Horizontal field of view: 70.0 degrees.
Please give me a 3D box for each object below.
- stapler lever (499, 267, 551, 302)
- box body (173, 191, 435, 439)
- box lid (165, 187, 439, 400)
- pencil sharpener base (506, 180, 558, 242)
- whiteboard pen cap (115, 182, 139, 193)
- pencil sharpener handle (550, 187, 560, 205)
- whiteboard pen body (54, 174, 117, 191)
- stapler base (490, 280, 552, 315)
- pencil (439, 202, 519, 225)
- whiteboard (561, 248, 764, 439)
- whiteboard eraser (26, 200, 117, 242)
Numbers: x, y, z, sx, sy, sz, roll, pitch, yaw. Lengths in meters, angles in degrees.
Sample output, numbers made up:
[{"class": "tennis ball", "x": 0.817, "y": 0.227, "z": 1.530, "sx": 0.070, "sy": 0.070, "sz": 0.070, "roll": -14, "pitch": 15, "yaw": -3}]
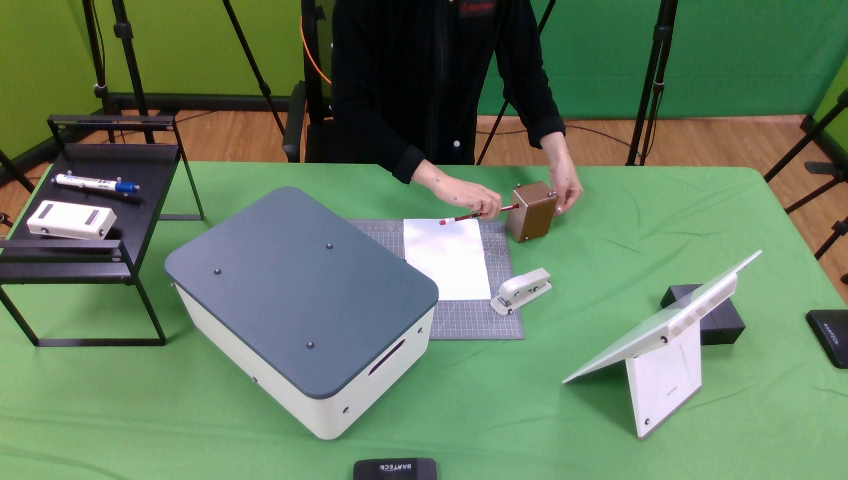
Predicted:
[{"class": "stapler lever", "x": 0.185, "y": 0.076, "z": 1.101, "sx": 0.118, "sy": 0.040, "sz": 0.026, "roll": -25, "pitch": 57, "yaw": -29}, {"class": "box body", "x": -0.191, "y": 0.110, "z": 0.979, "sx": 0.362, "sy": 0.161, "sz": 0.254, "roll": 33, "pitch": 53, "yaw": 24}, {"class": "box lid", "x": -0.186, "y": 0.060, "z": 0.925, "sx": 0.370, "sy": 0.015, "sz": 0.263, "roll": 32, "pitch": 53, "yaw": 25}, {"class": "pencil sharpener base", "x": 0.216, "y": -0.058, "z": 1.211, "sx": 0.077, "sy": 0.107, "sz": 0.061, "roll": -16, "pitch": 49, "yaw": -19}, {"class": "whiteboard pen cap", "x": -0.483, "y": -0.086, "z": 0.984, "sx": 0.033, "sy": 0.018, "sz": 0.018, "roll": 7, "pitch": 46, "yaw": 10}, {"class": "pencil sharpener handle", "x": 0.261, "y": -0.084, "z": 1.221, "sx": 0.031, "sy": 0.068, "sz": 0.036, "roll": -16, "pitch": 66, "yaw": -19}, {"class": "whiteboard pen body", "x": -0.541, "y": -0.093, "z": 0.993, "sx": 0.140, "sy": 0.017, "sz": 0.017, "roll": 7, "pitch": 46, "yaw": 9}, {"class": "stapler base", "x": 0.181, "y": 0.094, "z": 1.118, "sx": 0.130, "sy": 0.024, "sz": 0.041, "roll": -24, "pitch": 57, "yaw": -29}, {"class": "pencil", "x": 0.116, "y": -0.055, "z": 1.151, "sx": 0.194, "sy": 0.012, "sz": 0.012, "roll": -14, "pitch": 49, "yaw": -21}, {"class": "whiteboard", "x": 0.386, "y": 0.176, "z": 0.905, "sx": 0.217, "sy": 0.306, "sz": 0.143, "roll": -26, "pitch": 72, "yaw": -27}, {"class": "whiteboard eraser", "x": -0.532, "y": -0.026, "z": 0.919, "sx": 0.113, "sy": 0.042, "sz": 0.055, "roll": 7, "pitch": 45, "yaw": 3}]
